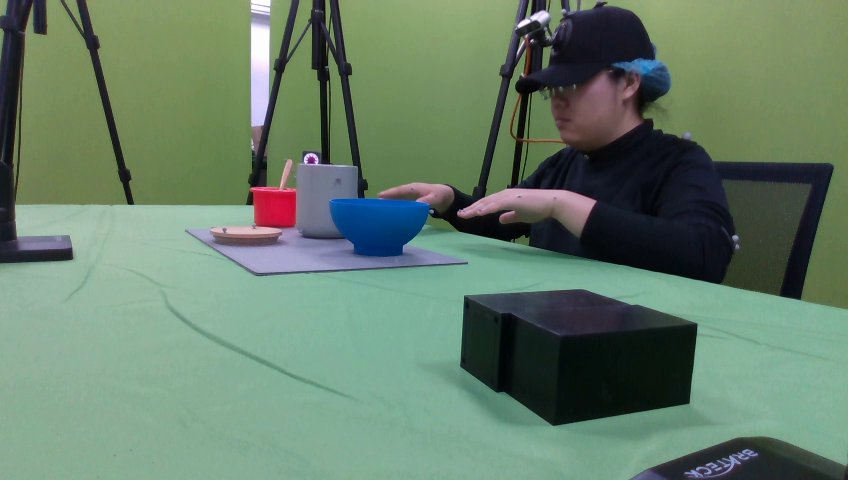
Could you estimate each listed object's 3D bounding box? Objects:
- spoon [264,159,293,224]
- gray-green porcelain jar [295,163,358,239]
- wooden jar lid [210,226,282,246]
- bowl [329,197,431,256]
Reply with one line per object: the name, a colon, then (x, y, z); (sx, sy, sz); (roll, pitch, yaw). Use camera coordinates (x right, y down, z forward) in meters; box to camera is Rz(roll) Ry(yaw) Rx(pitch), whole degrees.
spoon: (-0.288, -0.102, 1.227); (0.041, 0.021, 0.193); (1, 51, 3)
gray-green porcelain jar: (-0.170, -0.069, 1.054); (0.106, 0.126, 0.106); (3, 7, 0)
wooden jar lid: (-0.279, -0.007, 0.951); (0.108, 0.020, 0.108); (2, 8, 0)
bowl: (-0.067, -0.019, 0.895); (0.151, 0.077, 0.151); (3, 7, 0)
